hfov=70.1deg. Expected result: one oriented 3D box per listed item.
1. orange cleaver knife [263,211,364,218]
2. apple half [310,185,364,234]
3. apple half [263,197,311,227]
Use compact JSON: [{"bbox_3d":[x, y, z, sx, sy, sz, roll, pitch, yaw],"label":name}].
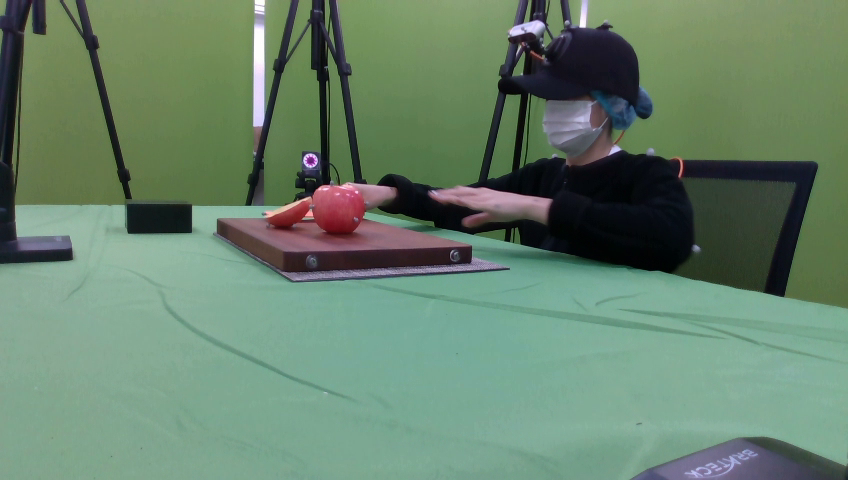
[{"bbox_3d":[-0.191,-0.045,1.096,0.212,0.012,0.077,-1,7,-38],"label":"orange cleaver knife"},{"bbox_3d":[-0.123,-0.045,0.906,0.081,0.074,0.053,2,10,-42],"label":"apple half"},{"bbox_3d":[-0.211,-0.040,0.956,0.081,0.033,0.081,-20,12,5],"label":"apple half"}]
